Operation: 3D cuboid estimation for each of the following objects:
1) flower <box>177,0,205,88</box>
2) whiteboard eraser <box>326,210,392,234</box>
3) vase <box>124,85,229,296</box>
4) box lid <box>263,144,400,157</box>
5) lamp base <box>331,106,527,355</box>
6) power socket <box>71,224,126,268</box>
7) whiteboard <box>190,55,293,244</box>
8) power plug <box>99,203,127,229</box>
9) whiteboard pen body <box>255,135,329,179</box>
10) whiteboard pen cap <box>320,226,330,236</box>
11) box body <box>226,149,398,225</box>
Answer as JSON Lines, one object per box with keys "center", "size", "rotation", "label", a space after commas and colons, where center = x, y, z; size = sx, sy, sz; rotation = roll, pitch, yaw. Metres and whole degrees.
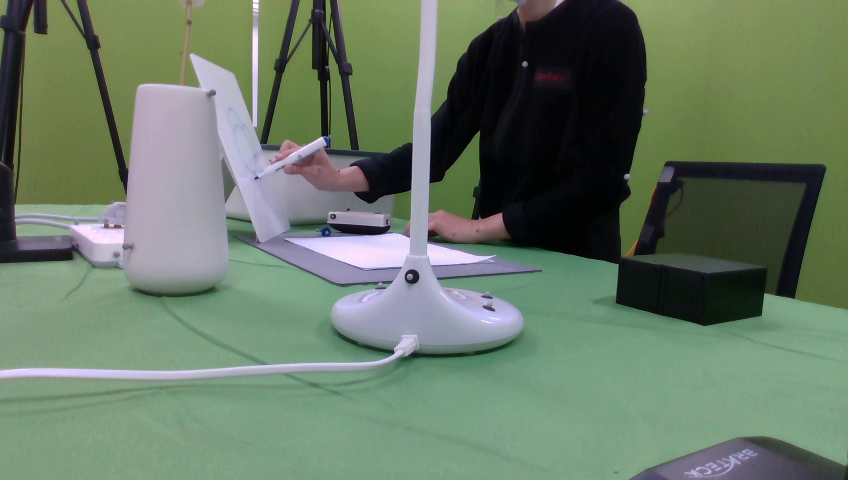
{"center": [-0.243, -0.131, 0.609], "size": [0.044, 0.361, 0.038], "rotation": [-5, -12, 10], "label": "flower"}
{"center": [-0.121, -0.033, 1.131], "size": [0.112, 0.042, 0.056], "rotation": [4, 8, 13], "label": "whiteboard eraser"}
{"center": [-0.244, -0.047, 0.598], "size": [0.098, 0.200, 0.098], "rotation": [3, 8, 0], "label": "vase"}
{"center": [-0.263, -0.203, 1.369], "size": [0.262, 0.015, 0.373], "rotation": [9, 10, 39], "label": "box lid"}
{"center": [0.006, -0.012, 0.478], "size": [0.161, 0.180, 0.179], "rotation": [2, 10, 2], "label": "lamp base"}
{"center": [-0.409, 0.004, 0.793], "size": [0.072, 0.032, 0.225], "rotation": [-2, 8, -37], "label": "power socket"}
{"center": [-0.362, -0.129, 1.029], "size": [0.144, 0.305, 0.217], "rotation": [-18, 7, 3], "label": "whiteboard"}
{"center": [-0.415, -0.026, 0.848], "size": [0.073, 0.052, 0.035], "rotation": [6, 5, -28], "label": "power plug"}
{"center": [-0.223, -0.137, 1.016], "size": [0.141, 0.017, 0.017], "rotation": [-30, 11, -4], "label": "whiteboard pen body"}
{"center": [-0.176, -0.016, 1.075], "size": [0.018, 0.018, 0.033], "rotation": [1, 5, -13], "label": "whiteboard pen cap"}
{"center": [-0.265, -0.129, 1.380], "size": [0.253, 0.160, 0.366], "rotation": [8, 9, 39], "label": "box body"}
